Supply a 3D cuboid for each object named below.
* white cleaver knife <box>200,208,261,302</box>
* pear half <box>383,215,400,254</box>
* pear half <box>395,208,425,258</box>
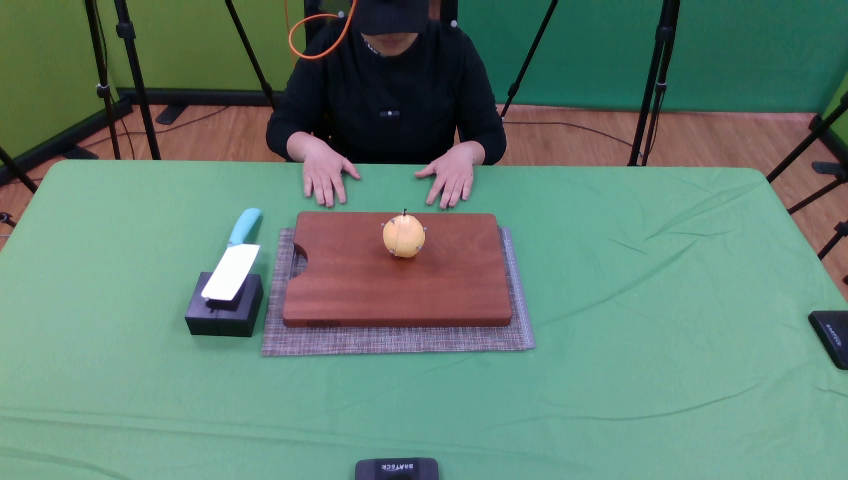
[{"bbox_3d":[-0.338,0.024,1.116,0.066,0.021,0.285,6,35,-3],"label":"white cleaver knife"},{"bbox_3d":[-0.061,-0.013,1.119,0.031,0.088,0.070,0,54,-3],"label":"pear half"},{"bbox_3d":[-0.025,-0.018,1.113,0.056,0.110,0.076,1,50,-4],"label":"pear half"}]
